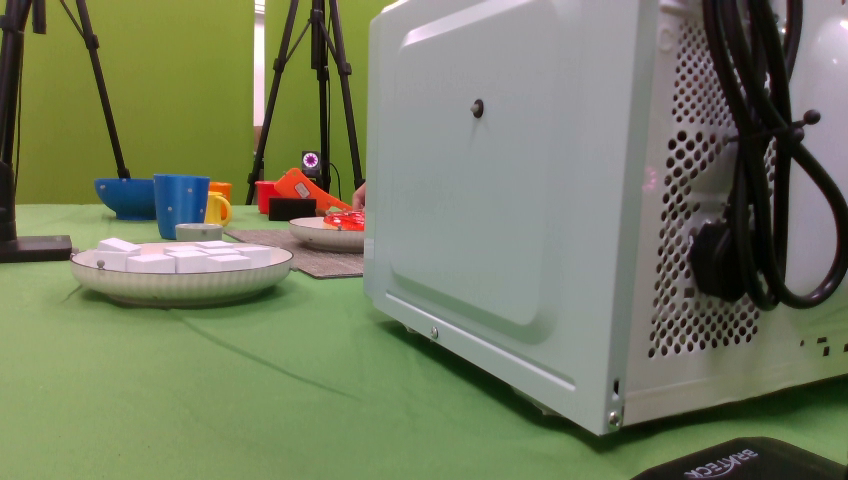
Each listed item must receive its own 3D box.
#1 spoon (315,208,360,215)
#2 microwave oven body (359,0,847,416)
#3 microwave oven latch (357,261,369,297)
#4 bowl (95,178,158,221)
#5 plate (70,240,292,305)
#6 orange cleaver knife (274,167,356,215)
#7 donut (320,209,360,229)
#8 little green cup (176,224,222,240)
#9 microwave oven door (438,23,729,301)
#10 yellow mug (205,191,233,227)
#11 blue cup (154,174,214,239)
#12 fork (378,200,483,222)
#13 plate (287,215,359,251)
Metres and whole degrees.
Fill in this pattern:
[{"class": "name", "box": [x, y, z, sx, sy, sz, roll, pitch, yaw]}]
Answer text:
[{"class": "spoon", "box": [-0.115, -0.052, 1.114, 0.195, 0.021, 0.041, -7, -9, -43]}, {"class": "microwave oven body", "box": [0.211, -0.047, 0.474, 0.444, 0.260, 0.324, -1, 7, -28]}, {"class": "microwave oven latch", "box": [-0.019, 0.033, 0.531, 0.079, 0.029, 0.030, -1, 7, -28]}, {"class": "bowl", "box": [-0.576, -0.081, 1.217, 0.151, 0.077, 0.151, 3, 8, 0]}, {"class": "plate", "box": [-0.242, 0.031, 0.618, 0.208, 0.039, 0.207, 2, 8, 0]}, {"class": "orange cleaver knife", "box": [-0.238, -0.091, 1.381, 0.212, 0.077, 0.012, 31, 0, -19]}, {"class": "donut", "box": [-0.115, -0.023, 0.961, 0.099, 0.048, 0.099, 5, 9, 0]}, {"class": "little green cup", "box": [-0.312, -0.001, 0.842, 0.061, 0.038, 0.061, 2, 8, 0]}, {"class": "microwave oven door", "box": [0.181, -0.072, 0.620, 0.358, 0.243, 0.039, -2, 8, -29]}, {"class": "yellow mug", "box": [-0.415, -0.057, 1.132, 0.130, 0.064, 0.100, 6, 8, 16]}, {"class": "blue cup", "box": [-0.390, -0.053, 0.978, 0.093, 0.100, 0.092, 3, 6, 0]}, {"class": "fork", "box": [0.016, -0.038, 0.868, 0.018, 0.028, 0.208, 17, 10, 42]}, {"class": "plate", "box": [-0.112, -0.012, 0.960, 0.209, 0.038, 0.209, 3, 8, 0]}]
